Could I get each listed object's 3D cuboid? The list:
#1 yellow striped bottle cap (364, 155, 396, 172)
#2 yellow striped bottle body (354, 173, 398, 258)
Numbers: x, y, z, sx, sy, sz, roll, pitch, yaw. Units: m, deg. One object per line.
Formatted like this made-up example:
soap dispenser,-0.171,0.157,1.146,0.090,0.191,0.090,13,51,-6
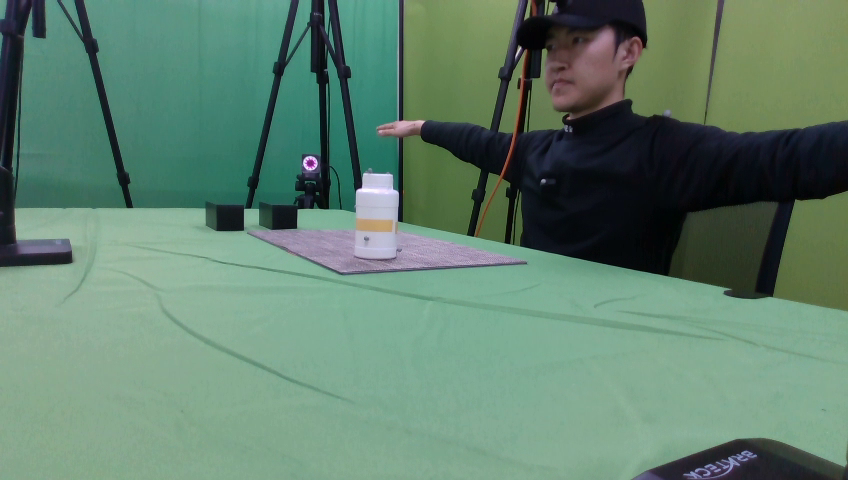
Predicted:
yellow striped bottle cap,-0.063,-0.109,0.859,0.044,0.018,0.044,9,6,-1
yellow striped bottle body,-0.069,-0.037,0.873,0.063,0.120,0.063,2,7,0
